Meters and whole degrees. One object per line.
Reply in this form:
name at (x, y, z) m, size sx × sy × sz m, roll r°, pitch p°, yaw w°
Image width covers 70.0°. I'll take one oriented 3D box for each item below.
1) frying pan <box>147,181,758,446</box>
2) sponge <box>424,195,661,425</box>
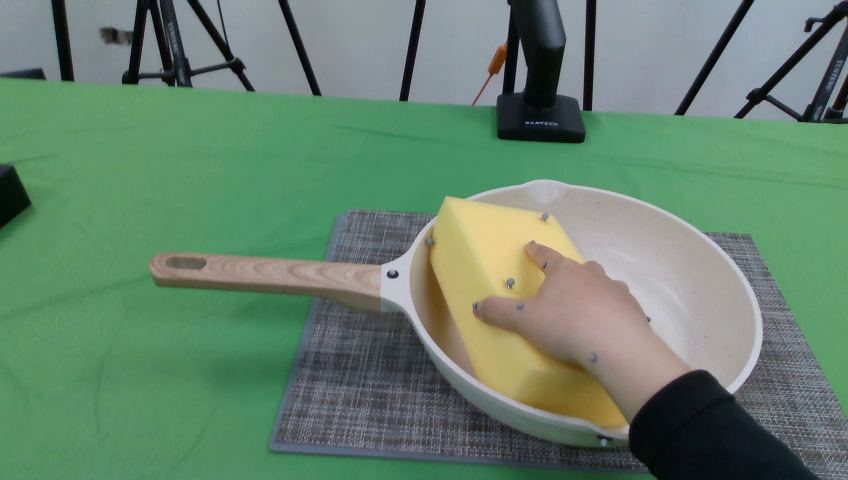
frying pan at (0.022, 0.045, 0.516) m, size 0.489 × 0.103 × 0.303 m, roll 7°, pitch 37°, yaw -7°
sponge at (0.086, 0.052, 0.509) m, size 0.119 × 0.061 × 0.204 m, roll 9°, pitch 34°, yaw -26°
